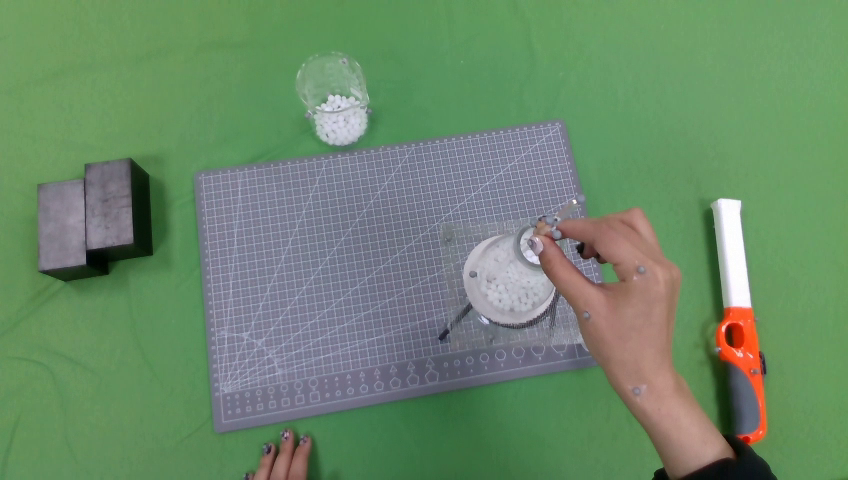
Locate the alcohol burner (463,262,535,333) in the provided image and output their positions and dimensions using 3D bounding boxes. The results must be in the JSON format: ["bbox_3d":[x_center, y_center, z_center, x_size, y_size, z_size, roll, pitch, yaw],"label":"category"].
[{"bbox_3d":[0.080,0.057,0.633,0.078,0.119,0.077,0,75,1],"label":"alcohol burner"}]

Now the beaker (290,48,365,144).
[{"bbox_3d":[-0.103,-0.159,0.694,0.084,0.100,0.074,26,76,4],"label":"beaker"}]

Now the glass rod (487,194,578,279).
[{"bbox_3d":[0.075,0.004,0.458,0.008,0.200,0.008,3,72,-9],"label":"glass rod"}]

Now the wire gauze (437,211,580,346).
[{"bbox_3d":[0.078,0.035,0.561,0.125,0.011,0.121,-3,78,-5],"label":"wire gauze"}]

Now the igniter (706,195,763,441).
[{"bbox_3d":[0.349,0.082,0.684,0.057,0.025,0.275,5,75,-12],"label":"igniter"}]

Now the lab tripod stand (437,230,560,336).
[{"bbox_3d":[0.079,0.054,0.624,0.148,0.132,0.147,0,77,-1],"label":"lab tripod stand"}]

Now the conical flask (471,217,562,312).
[{"bbox_3d":[0.082,0.016,0.505,0.075,0.122,0.075,1,77,-2],"label":"conical flask"}]

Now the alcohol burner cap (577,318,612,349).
[{"bbox_3d":[0.189,0.101,0.663,0.034,0.048,0.033,0,75,-1],"label":"alcohol burner cap"}]
